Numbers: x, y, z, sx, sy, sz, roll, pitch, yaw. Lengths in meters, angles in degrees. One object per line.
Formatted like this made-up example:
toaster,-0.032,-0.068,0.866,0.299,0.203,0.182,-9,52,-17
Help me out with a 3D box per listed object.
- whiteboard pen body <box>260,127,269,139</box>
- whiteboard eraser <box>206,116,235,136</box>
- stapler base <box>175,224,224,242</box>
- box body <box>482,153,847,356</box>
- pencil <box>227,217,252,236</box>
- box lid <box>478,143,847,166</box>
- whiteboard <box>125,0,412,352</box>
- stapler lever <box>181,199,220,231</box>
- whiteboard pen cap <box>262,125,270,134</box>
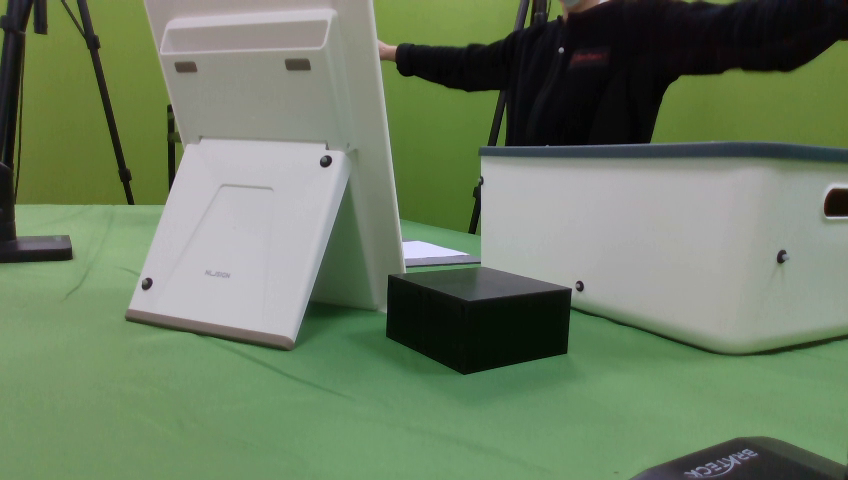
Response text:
whiteboard pen body,-0.366,-0.247,1.392,0.017,0.017,0.140,0,3,-17
whiteboard eraser,-0.450,-0.252,1.335,0.056,0.042,0.112,1,7,-22
stapler base,-0.348,-0.014,0.947,0.041,0.024,0.130,2,7,-3
box body,0.252,-0.011,0.639,0.255,0.160,0.362,-1,8,-30
pencil,-0.333,-0.024,1.092,0.012,0.012,0.193,2,10,-5
box lid,0.256,-0.084,0.628,0.265,0.015,0.369,-2,8,-29
whiteboard,-0.151,-0.049,0.472,0.216,0.305,0.144,6,27,24
stapler lever,-0.346,-0.040,0.942,0.027,0.040,0.118,1,8,-3
whiteboard pen cap,-0.349,-0.244,1.337,0.018,0.018,0.033,0,2,-17
